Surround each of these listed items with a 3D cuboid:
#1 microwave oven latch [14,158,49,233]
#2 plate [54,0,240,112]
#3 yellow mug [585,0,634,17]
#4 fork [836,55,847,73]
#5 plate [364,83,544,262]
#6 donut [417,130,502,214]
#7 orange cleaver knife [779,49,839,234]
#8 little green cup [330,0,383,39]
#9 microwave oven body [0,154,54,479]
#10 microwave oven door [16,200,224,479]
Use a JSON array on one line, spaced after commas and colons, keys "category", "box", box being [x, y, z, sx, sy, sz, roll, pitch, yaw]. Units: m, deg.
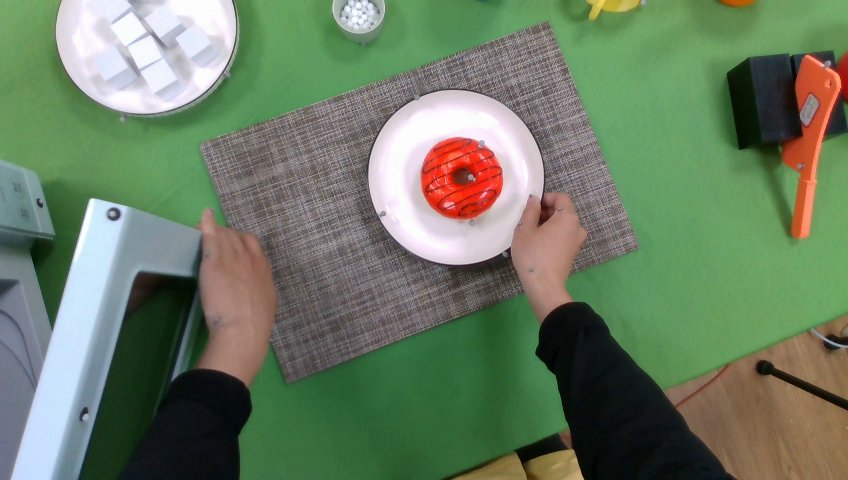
[{"category": "microwave oven latch", "box": [-0.445, -0.048, 0.672, 0.030, 0.029, 0.079, -15, 87, -4]}, {"category": "plate", "box": [-0.318, -0.248, 0.710, 0.208, 0.039, 0.207, 0, 86, -2]}, {"category": "yellow mug", "box": [0.227, -0.328, 0.727, 0.100, 0.064, 0.130, 27, 86, 0]}, {"category": "fork", "box": [0.598, -0.213, 0.695, 0.206, 0.019, 0.028, 5, 81, 40]}, {"category": "plate", "box": [0.034, -0.078, 0.710, 0.209, 0.038, 0.208, 0, 86, -2]}, {"category": "donut", "box": [0.040, -0.078, 0.699, 0.099, 0.048, 0.099, 0, 86, 0]}, {"category": "orange cleaver knife", "box": [0.443, -0.112, 0.713, 0.012, 0.076, 0.213, -6, 115, -1]}, {"category": "little green cup", "box": [-0.079, -0.273, 0.723, 0.061, 0.038, 0.061, 0, 85, -2]}, {"category": "microwave oven body", "box": [-0.527, 0.156, 0.557, 0.326, 0.260, 0.441, -18, 87, -4]}, {"category": "microwave oven door", "box": [-0.283, 0.149, 0.564, 0.039, 0.244, 0.355, 13, 85, 0]}]
